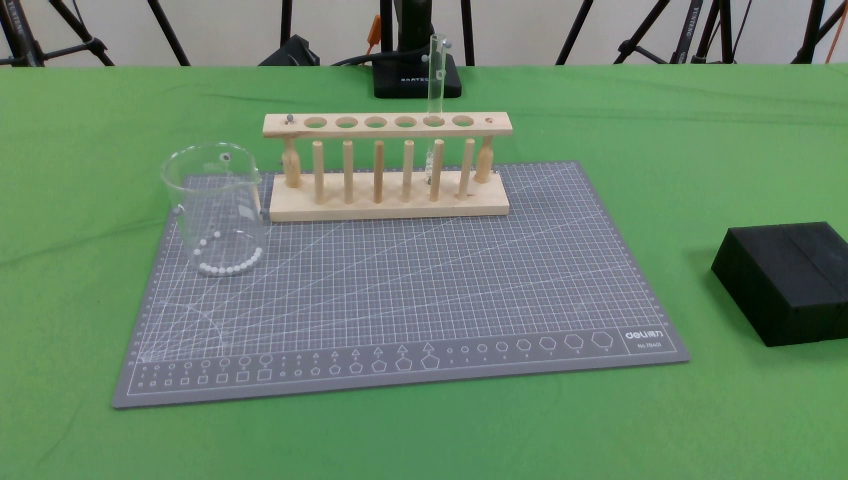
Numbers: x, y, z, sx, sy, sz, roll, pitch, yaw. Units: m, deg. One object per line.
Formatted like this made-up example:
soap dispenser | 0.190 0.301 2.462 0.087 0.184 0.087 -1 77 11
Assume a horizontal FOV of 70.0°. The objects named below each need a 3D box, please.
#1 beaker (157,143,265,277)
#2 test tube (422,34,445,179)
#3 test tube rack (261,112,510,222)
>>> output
beaker | -0.179 -0.023 0.534 0.084 0.101 0.073 11 42 8
test tube | 0.009 -0.127 0.601 0.017 0.151 0.017 2 37 -1
test tube rack | -0.036 -0.075 0.614 0.243 0.086 0.066 -2 41 -6
